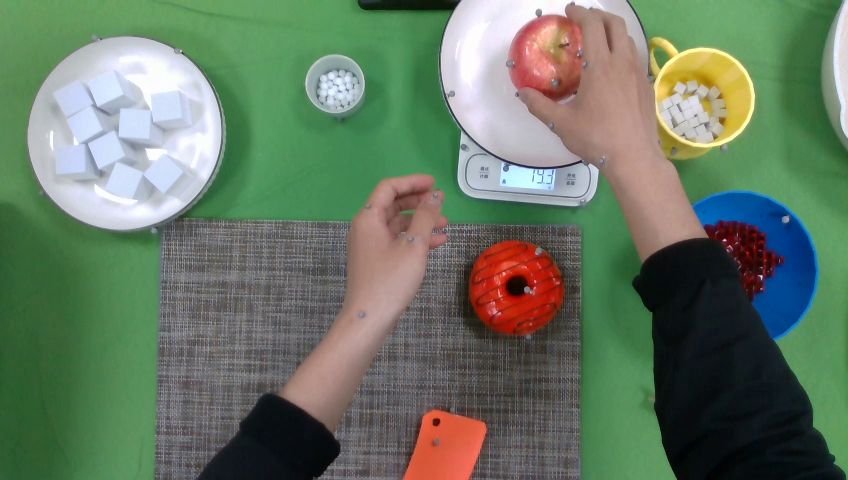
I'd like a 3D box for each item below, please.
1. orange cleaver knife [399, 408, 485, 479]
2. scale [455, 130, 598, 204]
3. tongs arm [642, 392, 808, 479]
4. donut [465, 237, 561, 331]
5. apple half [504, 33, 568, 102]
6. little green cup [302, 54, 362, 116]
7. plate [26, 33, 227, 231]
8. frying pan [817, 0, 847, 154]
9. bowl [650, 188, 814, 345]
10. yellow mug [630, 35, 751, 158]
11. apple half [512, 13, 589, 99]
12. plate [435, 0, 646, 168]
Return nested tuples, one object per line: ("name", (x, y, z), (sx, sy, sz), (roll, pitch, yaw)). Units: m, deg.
("orange cleaver knife", (-0.010, 0.271, 0.630), (0.077, 0.012, 0.211), (30, 86, -4))
("scale", (0.114, -0.143, 0.642), (0.148, 0.031, 0.200), (5, 88, 1))
("tongs arm", (0.394, 0.263, 0.623), (0.387, 0.028, 0.028), (31, 81, 2))
("donut", (0.091, 0.045, 0.625), (0.099, 0.048, 0.099), (0, 88, 4))
("apple half", (0.099, -0.156, 0.582), (0.033, 0.081, 0.081), (-43, 87, -4))
("little green cup", (-0.094, -0.162, 0.643), (0.061, 0.038, 0.061), (0, 87, 1))
("plate", (-0.310, -0.112, 0.645), (0.208, 0.039, 0.207), (0, 88, 1))
("frying pan", (0.584, -0.081, 0.595), (0.307, 0.103, 0.485), (-26, 80, 1))
("bowl", (0.294, 0.026, 0.609), (0.151, 0.077, 0.151), (0, 89, 1))
("yellow mug", (0.262, -0.153, 0.622), (0.100, 0.064, 0.130), (-31, 87, 1))
("apple half", (0.127, -0.182, 0.584), (0.053, 0.075, 0.080), (-43, 84, -4))
("plate", (0.115, -0.174, 0.610), (0.209, 0.038, 0.209), (0, 88, 1))
